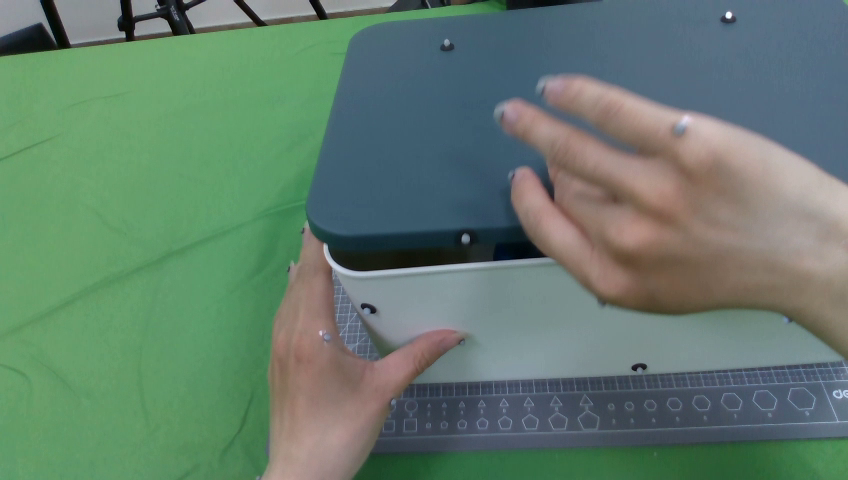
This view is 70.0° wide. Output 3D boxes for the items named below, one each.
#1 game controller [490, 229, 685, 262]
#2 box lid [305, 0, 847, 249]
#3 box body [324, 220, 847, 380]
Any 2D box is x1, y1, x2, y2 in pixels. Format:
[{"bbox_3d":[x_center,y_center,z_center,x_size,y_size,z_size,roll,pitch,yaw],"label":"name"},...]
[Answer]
[{"bbox_3d":[0.139,-0.012,0.504,0.154,0.052,0.096,11,49,15],"label":"game controller"},{"bbox_3d":[0.118,-0.096,0.394,0.371,0.015,0.260,-3,43,6],"label":"box lid"},{"bbox_3d":[0.132,-0.039,0.461,0.364,0.162,0.251,-4,50,6],"label":"box body"}]
